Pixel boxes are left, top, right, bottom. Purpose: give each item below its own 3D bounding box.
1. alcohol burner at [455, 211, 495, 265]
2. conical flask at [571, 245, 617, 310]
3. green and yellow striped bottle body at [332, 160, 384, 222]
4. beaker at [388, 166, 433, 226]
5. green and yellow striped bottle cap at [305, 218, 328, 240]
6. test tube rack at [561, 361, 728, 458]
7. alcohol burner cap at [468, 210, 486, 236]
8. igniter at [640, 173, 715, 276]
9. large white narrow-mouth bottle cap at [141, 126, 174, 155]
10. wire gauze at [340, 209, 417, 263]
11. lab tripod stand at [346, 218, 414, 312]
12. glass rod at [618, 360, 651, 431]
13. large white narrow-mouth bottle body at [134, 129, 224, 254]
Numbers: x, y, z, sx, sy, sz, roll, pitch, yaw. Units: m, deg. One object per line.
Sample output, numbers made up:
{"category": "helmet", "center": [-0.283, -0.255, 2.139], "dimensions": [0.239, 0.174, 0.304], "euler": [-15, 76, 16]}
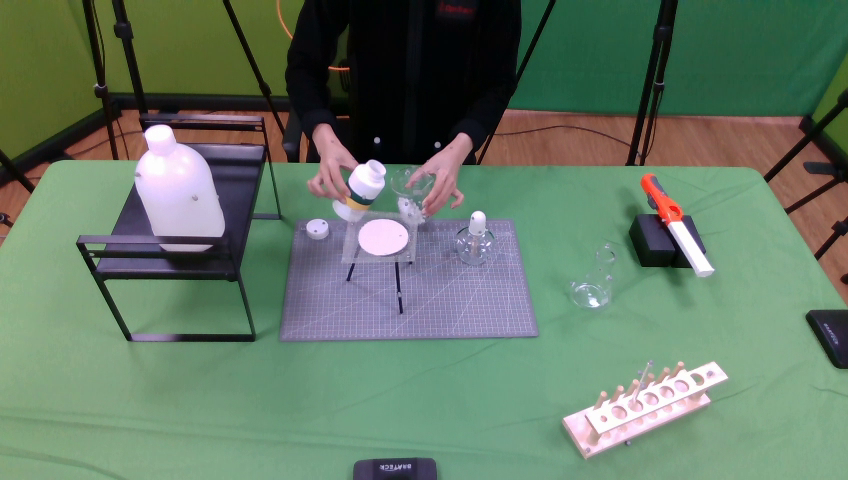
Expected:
{"category": "alcohol burner", "center": [0.097, -0.010, 1.147], "dimensions": [0.078, 0.120, 0.077], "euler": [1, 47, -1]}
{"category": "conical flask", "center": [0.313, 0.064, 1.089], "dimensions": [0.075, 0.122, 0.075], "euler": [2, 46, -2]}
{"category": "green and yellow striped bottle body", "center": [-0.119, -0.094, 1.131], "dimensions": [0.063, 0.120, 0.063], "euler": [25, 36, -20]}
{"category": "beaker", "center": [-0.020, -0.083, 1.170], "dimensions": [0.084, 0.101, 0.073], "euler": [-7, 53, 3]}
{"category": "green and yellow striped bottle cap", "center": [-0.214, -0.022, 1.203], "dimensions": [0.045, 0.020, 0.045], "euler": [4, 47, -4]}
{"category": "test tube rack", "center": [0.341, 0.248, 0.940], "dimensions": [0.243, 0.085, 0.066], "euler": [-15, 49, -18]}
{"category": "alcohol burner cap", "center": [0.100, -0.034, 1.119], "dimensions": [0.034, 0.048, 0.033], "euler": [0, 53, 0]}
{"category": "igniter", "center": [0.495, -0.039, 1.204], "dimensions": [0.057, 0.025, 0.274], "euler": [-2, 47, -12]}
{"category": "large white narrow-mouth bottle cap", "center": [-0.356, -0.133, 0.811], "dimensions": [0.038, 0.024, 0.037], "euler": [2, 48, -1]}
{"category": "wire gauze", "center": [-0.074, -0.007, 1.023], "dimensions": [0.121, 0.011, 0.124], "euler": [3, 46, 0]}
{"category": "lab tripod stand", "center": [-0.070, 0.037, 1.075], "dimensions": [0.148, 0.132, 0.147], "euler": [1, 48, -1]}
{"category": "glass rod", "center": [0.298, 0.227, 0.865], "dimensions": [0.008, 0.201, 0.008], "euler": [-2, 48, 2]}
{"category": "large white narrow-mouth bottle body", "center": [-0.358, -0.075, 0.875], "dimensions": [0.102, 0.195, 0.101], "euler": [1, 48, -1]}
